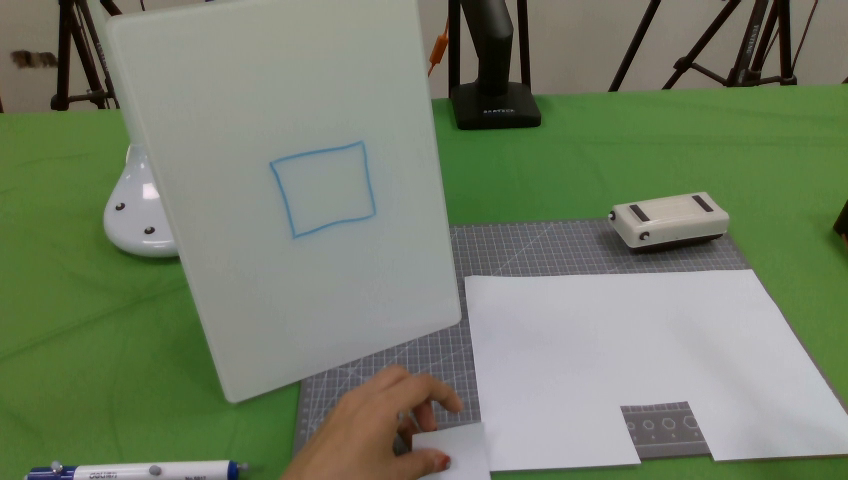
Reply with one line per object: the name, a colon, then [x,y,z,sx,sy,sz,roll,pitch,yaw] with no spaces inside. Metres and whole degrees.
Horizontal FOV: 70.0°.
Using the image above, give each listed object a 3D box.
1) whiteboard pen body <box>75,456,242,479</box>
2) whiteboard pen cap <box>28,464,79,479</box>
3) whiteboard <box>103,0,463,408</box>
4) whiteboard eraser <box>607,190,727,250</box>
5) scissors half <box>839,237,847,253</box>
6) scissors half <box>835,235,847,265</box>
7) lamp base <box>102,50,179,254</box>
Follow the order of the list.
whiteboard pen body: [-0.205,0.168,0.441,0.141,0.017,0.017,-1,40,-4]
whiteboard pen cap: [-0.264,0.170,0.437,0.033,0.018,0.018,-2,39,-6]
whiteboard: [-0.109,-0.051,0.534,0.218,0.307,0.142,-17,23,-18]
whiteboard eraser: [0.261,-0.020,0.653,0.113,0.042,0.055,-8,41,-10]
scissors half: [0.310,0.073,0.407,0.040,0.013,0.173,21,53,-29]
scissors half: [0.327,0.076,0.420,0.040,0.013,0.174,-1,67,-45]
lamp base: [-0.289,-0.101,0.648,0.177,0.182,0.160,25,46,30]
